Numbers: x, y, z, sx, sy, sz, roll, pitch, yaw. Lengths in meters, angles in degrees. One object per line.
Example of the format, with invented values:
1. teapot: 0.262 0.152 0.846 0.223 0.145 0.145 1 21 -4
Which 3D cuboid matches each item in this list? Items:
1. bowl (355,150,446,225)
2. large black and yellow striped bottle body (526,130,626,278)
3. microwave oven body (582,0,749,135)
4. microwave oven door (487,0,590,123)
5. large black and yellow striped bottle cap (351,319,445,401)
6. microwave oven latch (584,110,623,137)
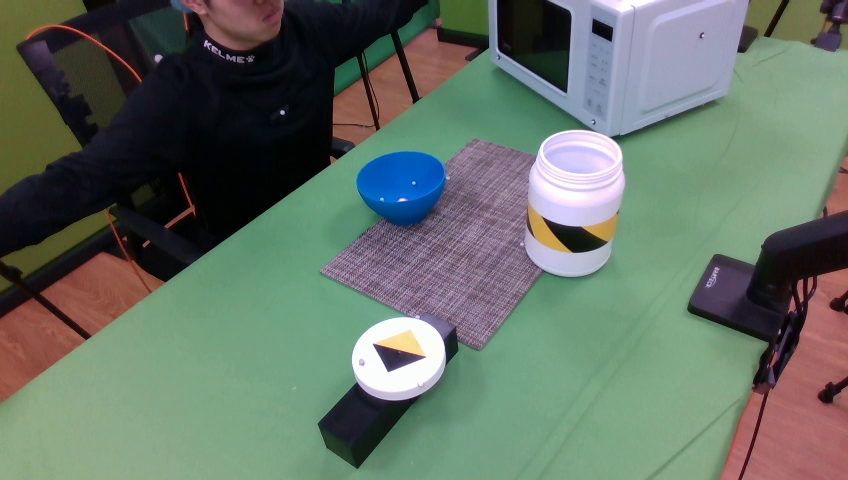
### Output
1. bowl: -0.035 -0.078 1.017 0.151 0.077 0.150 -4 40 4
2. large black and yellow striped bottle body: 0.216 -0.051 0.870 0.131 0.185 0.130 -2 43 2
3. microwave oven body: 0.382 -0.444 1.246 0.327 0.261 0.437 -22 42 -16
4. microwave oven door: 0.231 -0.420 1.230 0.039 0.245 0.352 -22 43 -16
5. large black and yellow striped bottle cap: -0.031 0.143 0.735 0.115 0.019 0.114 -3 40 3
6. microwave oven latch: 0.337 -0.222 1.142 0.030 0.029 0.078 -21 42 -14
